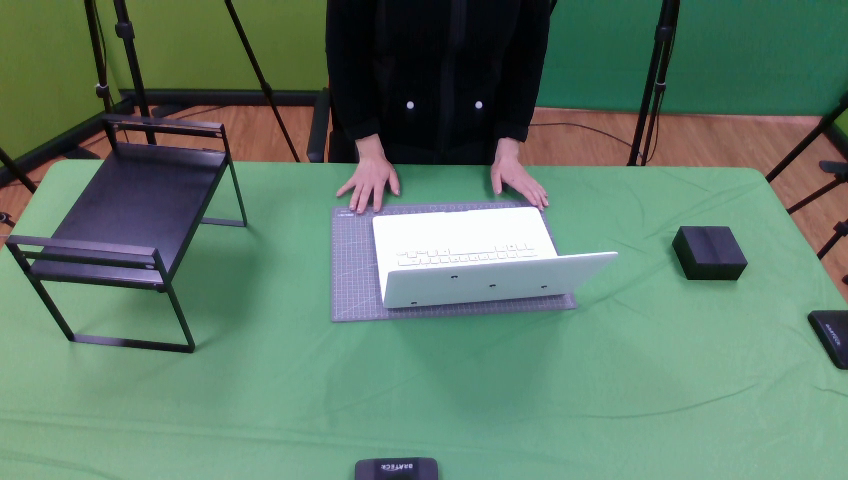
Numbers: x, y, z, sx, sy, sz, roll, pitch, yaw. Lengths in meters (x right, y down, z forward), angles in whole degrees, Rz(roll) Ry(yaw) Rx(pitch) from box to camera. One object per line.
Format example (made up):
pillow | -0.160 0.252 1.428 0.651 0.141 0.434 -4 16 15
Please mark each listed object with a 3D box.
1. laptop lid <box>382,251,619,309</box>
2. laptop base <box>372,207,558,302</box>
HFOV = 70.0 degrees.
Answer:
laptop lid | 0.110 0.070 0.989 0.357 0.242 0.013 -4 71 -9
laptop base | 0.083 0.027 1.178 0.355 0.023 0.234 -4 43 -8
